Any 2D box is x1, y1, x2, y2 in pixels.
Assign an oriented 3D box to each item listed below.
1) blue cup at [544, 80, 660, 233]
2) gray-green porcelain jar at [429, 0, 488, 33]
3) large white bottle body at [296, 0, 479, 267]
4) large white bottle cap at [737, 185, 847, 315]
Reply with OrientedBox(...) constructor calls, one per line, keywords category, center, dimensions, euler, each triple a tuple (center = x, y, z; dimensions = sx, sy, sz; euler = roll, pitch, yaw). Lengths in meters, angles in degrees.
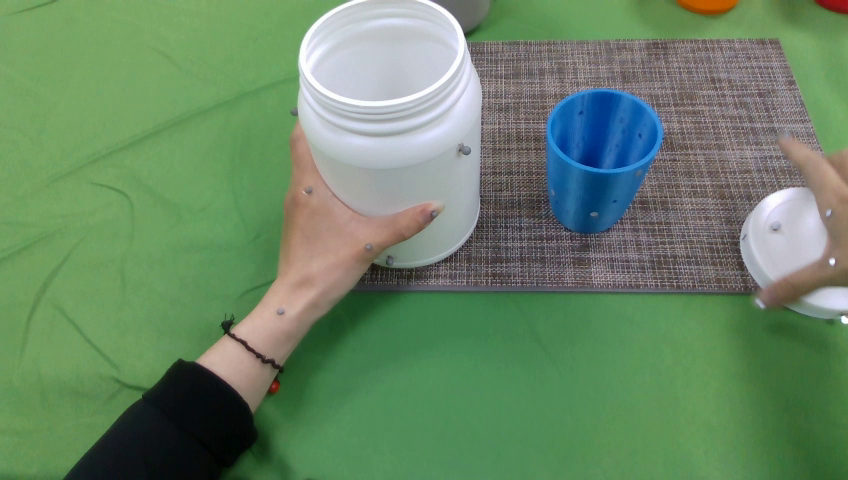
OrientedBox(category="blue cup", center=(0.137, -0.057, 0.494), dimensions=(0.092, 0.101, 0.092), euler=(-2, 56, 4))
OrientedBox(category="gray-green porcelain jar", center=(0.017, -0.290, 0.637), dimensions=(0.106, 0.127, 0.105), euler=(-2, 58, 3))
OrientedBox(category="large white bottle body", center=(-0.023, -0.077, 0.466), dimensions=(0.130, 0.186, 0.129), euler=(-2, 57, 3))
OrientedBox(category="large white bottle cap", center=(0.317, 0.006, 0.494), dimensions=(0.115, 0.018, 0.114), euler=(0, 60, 0))
